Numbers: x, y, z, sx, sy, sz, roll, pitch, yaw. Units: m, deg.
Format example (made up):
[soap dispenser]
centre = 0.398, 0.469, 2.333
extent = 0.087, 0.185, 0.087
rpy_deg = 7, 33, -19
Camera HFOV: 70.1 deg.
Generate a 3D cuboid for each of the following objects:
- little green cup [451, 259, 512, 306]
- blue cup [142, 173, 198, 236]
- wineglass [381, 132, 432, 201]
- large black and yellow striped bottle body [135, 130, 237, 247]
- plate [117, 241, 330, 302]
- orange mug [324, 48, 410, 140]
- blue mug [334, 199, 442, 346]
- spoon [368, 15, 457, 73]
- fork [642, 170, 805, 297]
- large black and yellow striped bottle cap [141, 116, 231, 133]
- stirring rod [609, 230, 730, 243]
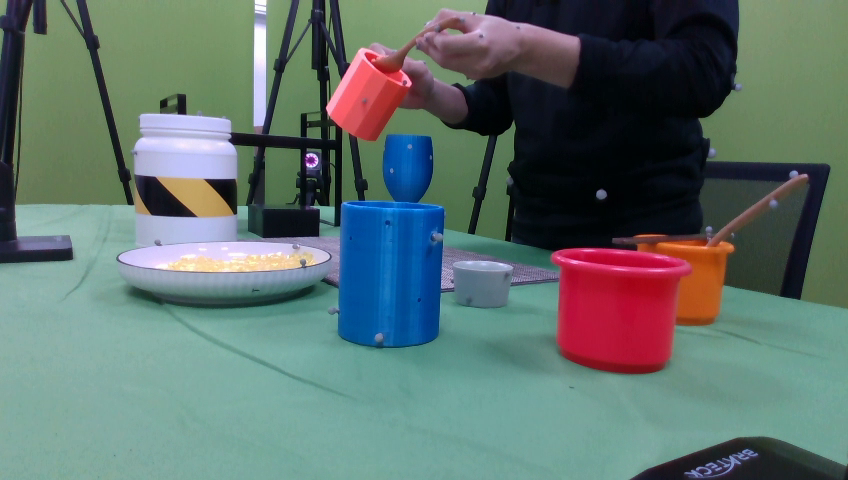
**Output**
[little green cup]
centre = 0.057, 0.043, 0.611
extent = 0.061, 0.038, 0.061
rpy_deg = 3, 8, 0
[blue cup]
centre = -0.425, -0.060, 1.014
extent = 0.093, 0.100, 0.092
rpy_deg = 4, 9, 0
[wineglass]
centre = -0.026, -0.062, 0.841
extent = 0.074, 0.172, 0.073
rpy_deg = 2, 7, 0
[large black and yellow striped bottle body]
centre = -0.327, -0.074, 0.838
extent = 0.131, 0.184, 0.130
rpy_deg = 2, 7, 0
[plate]
centre = -0.203, 0.031, 0.630
extent = 0.209, 0.038, 0.209
rpy_deg = 3, 7, 0
[orange mug]
centre = -0.078, -0.215, 0.874
extent = 0.083, 0.100, 0.126
rpy_deg = 32, 30, -10
[blue mug]
centre = -0.034, 0.020, 0.498
extent = 0.083, 0.106, 0.116
rpy_deg = 0, 7, -19
[spoon]
centre = -0.017, -0.249, 0.771
extent = 0.042, 0.021, 0.193
rpy_deg = 10, -12, -31
[fork]
centre = 0.261, 0.004, 0.545
extent = 0.028, 0.018, 0.207
rpy_deg = 5, -37, -15
[large black and yellow striped bottle cap]
centre = -0.324, -0.157, 0.826
extent = 0.115, 0.019, 0.115
rpy_deg = 1, 7, 0
[stirring rod]
centre = 0.241, -0.004, 0.582
extent = 0.177, 0.006, 0.014
rpy_deg = -4, 10, -33
